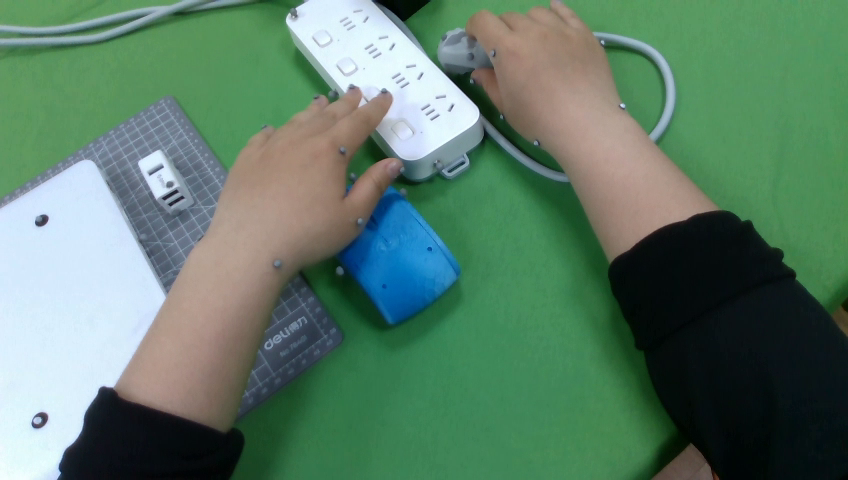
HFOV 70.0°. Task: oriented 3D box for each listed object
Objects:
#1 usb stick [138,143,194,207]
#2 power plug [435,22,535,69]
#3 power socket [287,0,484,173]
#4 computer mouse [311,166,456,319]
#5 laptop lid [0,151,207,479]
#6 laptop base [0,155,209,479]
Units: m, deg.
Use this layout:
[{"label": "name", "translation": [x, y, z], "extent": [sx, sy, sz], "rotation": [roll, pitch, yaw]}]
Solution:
[{"label": "usb stick", "translation": [-0.204, -0.056, 0.473], "extent": [0.021, 0.027, 0.058], "rotation": [-34, 59, -7]}, {"label": "power plug", "translation": [0.045, -0.154, 0.489], "extent": [0.073, 0.035, 0.052], "rotation": [2, 30, -20]}, {"label": "power socket", "translation": [-0.036, -0.140, 0.487], "extent": [0.072, 0.033, 0.224], "rotation": [-34, 61, -8]}, {"label": "computer mouse", "translation": [-0.031, -0.004, 0.411], "extent": [0.063, 0.041, 0.116], "rotation": [-34, 58, -6]}, {"label": "laptop lid", "translation": [-0.342, 0.104, 0.406], "extent": [0.357, 0.013, 0.239], "rotation": [-34, 64, -8]}, {"label": "laptop base", "translation": [-0.342, 0.108, 0.417], "extent": [0.354, 0.023, 0.233], "rotation": [-35, 65, -10]}]
